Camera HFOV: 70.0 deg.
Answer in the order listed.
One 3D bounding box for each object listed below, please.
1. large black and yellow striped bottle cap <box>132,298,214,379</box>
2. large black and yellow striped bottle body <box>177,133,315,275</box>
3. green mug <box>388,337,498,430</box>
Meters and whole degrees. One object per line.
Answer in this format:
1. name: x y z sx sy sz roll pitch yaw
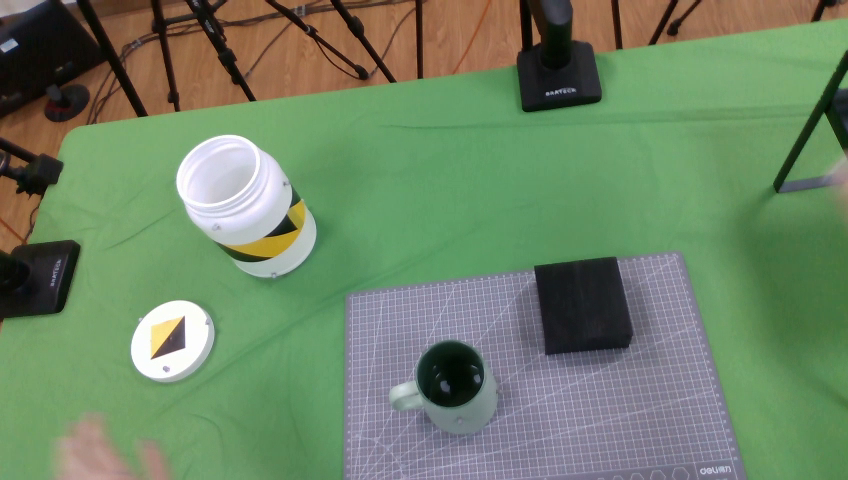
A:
1. large black and yellow striped bottle cap: -0.350 0.135 0.844 0.115 0.019 0.114 -5 60 8
2. large black and yellow striped bottle body: -0.238 -0.046 0.822 0.130 0.186 0.129 -5 61 9
3. green mug: 0.020 0.171 0.701 0.125 0.106 0.091 -16 60 3
